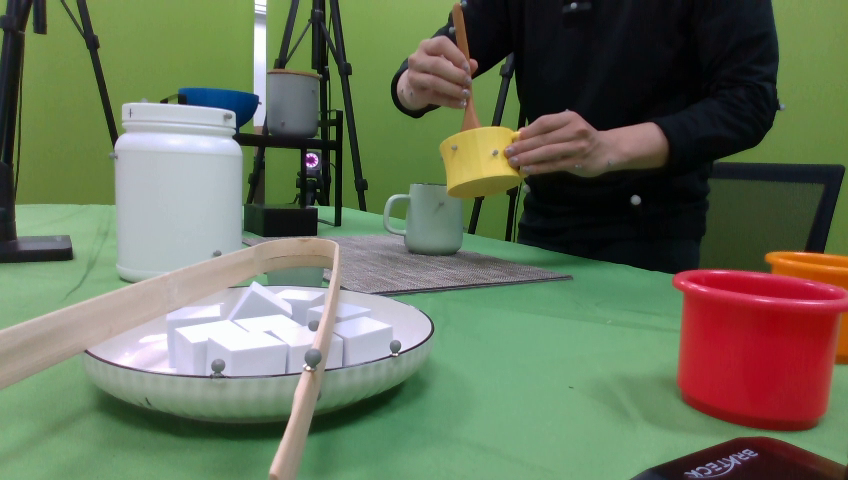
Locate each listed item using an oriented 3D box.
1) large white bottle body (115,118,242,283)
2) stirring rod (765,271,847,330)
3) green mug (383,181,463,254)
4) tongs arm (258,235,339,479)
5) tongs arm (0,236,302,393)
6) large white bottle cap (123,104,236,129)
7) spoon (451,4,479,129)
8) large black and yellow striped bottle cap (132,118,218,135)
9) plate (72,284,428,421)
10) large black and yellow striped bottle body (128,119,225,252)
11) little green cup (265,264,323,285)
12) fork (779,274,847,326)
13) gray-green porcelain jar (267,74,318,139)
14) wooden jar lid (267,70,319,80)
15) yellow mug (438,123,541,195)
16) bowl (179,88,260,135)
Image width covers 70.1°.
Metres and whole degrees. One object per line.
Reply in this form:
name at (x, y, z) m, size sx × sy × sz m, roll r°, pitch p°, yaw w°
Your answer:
large white bottle body at (-0.270, -0.051, 0.673) m, size 0.131 × 0.184 × 0.130 m, roll 2°, pitch 8°, yaw 0°
stirring rod at (0.352, 0.020, 0.481) m, size 0.176 × 0.006 × 0.014 m, roll -40°, pitch -8°, yaw 17°
green mug at (-0.001, -0.036, 0.921) m, size 0.126 × 0.105 × 0.092 m, roll 0°, pitch 8°, yaw -16°
tongs arm at (-0.074, 0.040, 0.345) m, size 0.051 × 0.026 × 0.384 m, roll -1°, pitch 10°, yaw -3°
tongs arm at (-0.157, 0.038, 0.347) m, size 0.028 × 0.028 × 0.388 m, roll -3°, pitch 8°, yaw 11°
large white bottle cap at (-0.266, -0.134, 0.663) m, size 0.115 × 0.018 × 0.115 m, roll 3°, pitch 7°, yaw 0°
spoon at (0.051, -0.190, 0.748) m, size 0.041 × 0.193 × 0.022 m, roll 0°, pitch 14°, yaw 35°
large black and yellow striped bottle cap at (-0.359, -0.164, 0.875) m, size 0.115 × 0.019 × 0.115 m, roll 2°, pitch 6°, yaw 0°
plate at (-0.102, 0.067, 0.381) m, size 0.208 × 0.039 × 0.207 m, roll 2°, pitch 7°, yaw 0°
large black and yellow striped bottle body at (-0.361, -0.081, 0.887) m, size 0.131 × 0.184 × 0.130 m, roll 2°, pitch 8°, yaw 0°
little green cup at (-0.134, 0.034, 0.628) m, size 0.061 × 0.038 × 0.061 m, roll 3°, pitch 7°, yaw 0°
fork at (0.332, 0.018, 0.443) m, size 0.028 × 0.018 × 0.207 m, roll -3°, pitch -35°, yaw -16°
gray-green porcelain jar at (-0.277, -0.279, 1.280) m, size 0.106 × 0.126 × 0.106 m, roll 2°, pitch 8°, yaw 0°
wooden jar lid at (-0.275, -0.339, 1.271) m, size 0.108 × 0.020 × 0.108 m, roll 5°, pitch 6°, yaw 0°
yellow mug at (0.086, -0.106, 0.780) m, size 0.130 × 0.064 × 0.100 m, roll -12°, pitch -10°, yaw 20°
bowl at (-0.400, -0.248, 1.188) m, size 0.151 × 0.077 × 0.151 m, roll 2°, pitch 6°, yaw 0°
